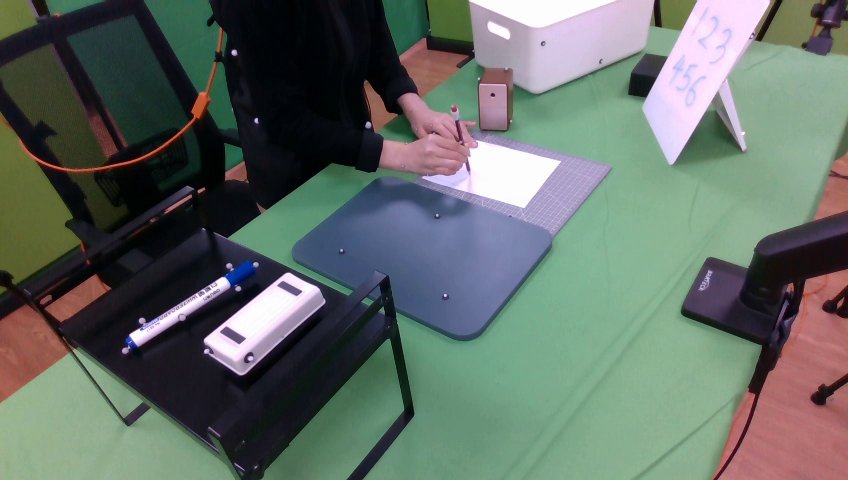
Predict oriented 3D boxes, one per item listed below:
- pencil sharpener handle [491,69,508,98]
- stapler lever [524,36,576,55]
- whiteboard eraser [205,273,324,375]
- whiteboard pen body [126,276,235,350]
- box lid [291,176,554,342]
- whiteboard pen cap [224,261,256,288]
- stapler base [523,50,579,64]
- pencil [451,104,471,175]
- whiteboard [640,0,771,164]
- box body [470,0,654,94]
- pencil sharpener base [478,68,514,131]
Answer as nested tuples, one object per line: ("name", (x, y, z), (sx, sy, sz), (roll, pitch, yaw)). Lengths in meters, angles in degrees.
("pencil sharpener handle", (0.155, -0.329, 1.254), (0.036, 0.068, 0.030), (17, 43, 3))
("stapler lever", (0.296, -0.456, 1.418), (0.117, 0.040, 0.027), (4, 40, 17))
("whiteboard eraser", (-0.157, 0.084, 0.605), (0.055, 0.042, 0.113), (24, 49, 30))
("whiteboard pen body", (-0.251, 0.070, 0.649), (0.141, 0.017, 0.017), (-36, 48, -25))
("box lid", (-0.005, 0.011, 0.972), (0.368, 0.015, 0.264), (21, 49, 30))
("whiteboard pen cap", (-0.207, 0.039, 0.677), (0.033, 0.018, 0.018), (-35, 47, -18))
("stapler base", (0.301, -0.436, 1.434), (0.130, 0.024, 0.041), (5, 40, 17))
("pencil", (0.066, -0.165, 1.029), (0.012, 0.195, 0.012), (-5, 61, 10))
("whiteboard", (0.543, -0.299, 1.076), (0.144, 0.305, 0.216), (12, 40, -7))
("box body", (0.319, -0.498, 1.405), (0.365, 0.161, 0.252), (-26, 43, -21))
("pencil sharpener base", (0.148, -0.286, 1.225), (0.061, 0.107, 0.076), (5, 41, 15))
